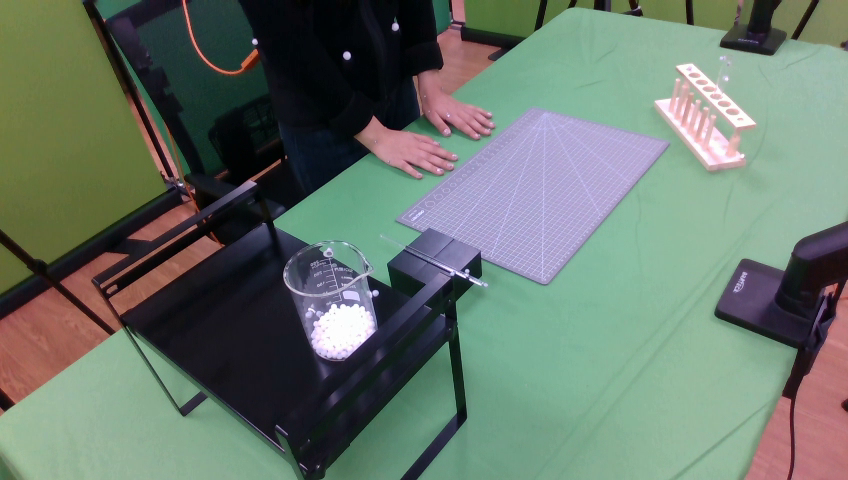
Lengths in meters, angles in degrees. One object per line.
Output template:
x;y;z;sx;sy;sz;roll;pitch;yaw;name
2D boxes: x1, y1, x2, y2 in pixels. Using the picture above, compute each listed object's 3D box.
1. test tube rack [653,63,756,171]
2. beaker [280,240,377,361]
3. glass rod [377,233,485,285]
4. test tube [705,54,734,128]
0.510;-0.234;1.120;0.067;0.085;0.241;-8;41;-1;test tube rack
-0.084;0.061;0.580;0.084;0.101;0.073;-3;41;5;beaker
0.005;0.025;0.877;0.198;0.008;0.008;24;50;31;glass rod
0.523;-0.260;1.073;0.017;0.151;0.017;-4;46;4;test tube
